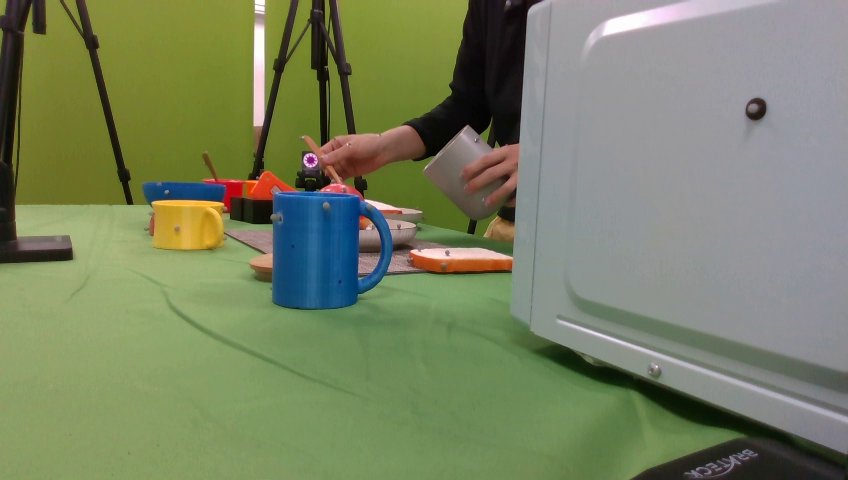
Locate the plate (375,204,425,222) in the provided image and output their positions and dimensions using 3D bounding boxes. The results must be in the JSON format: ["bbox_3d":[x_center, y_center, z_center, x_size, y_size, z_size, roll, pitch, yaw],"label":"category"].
[{"bbox_3d":[-0.102,-0.053,1.299,0.209,0.038,0.209,2,8,0],"label":"plate"}]

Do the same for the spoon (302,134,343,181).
[{"bbox_3d":[-0.153,-0.111,1.041,0.042,0.193,0.021,-28,-12,-33],"label":"spoon"}]

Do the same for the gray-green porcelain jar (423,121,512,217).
[{"bbox_3d":[0.079,-0.108,0.960,0.126,0.106,0.106,42,4,-7],"label":"gray-green porcelain jar"}]

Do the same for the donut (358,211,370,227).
[{"bbox_3d":[-0.132,-0.041,0.959,0.099,0.048,0.099,3,8,0],"label":"donut"}]

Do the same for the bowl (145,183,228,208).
[{"bbox_3d":[-0.459,-0.069,1.175,0.151,0.077,0.151,3,7,0],"label":"bowl"}]

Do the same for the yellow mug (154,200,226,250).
[{"bbox_3d":[-0.337,-0.022,0.899,0.130,0.064,0.100,8,9,34],"label":"yellow mug"}]

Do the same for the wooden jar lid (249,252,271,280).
[{"bbox_3d":[-0.148,0.028,0.708,0.108,0.020,0.108,-1,10,0],"label":"wooden jar lid"}]

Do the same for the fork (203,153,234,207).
[{"bbox_3d":[-0.480,-0.135,1.411,0.028,0.018,0.207,1,-34,0],"label":"fork"}]

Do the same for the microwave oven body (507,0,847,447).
[{"bbox_3d":[0.331,-0.042,0.425,0.444,0.260,0.324,-2,8,-31],"label":"microwave oven body"}]

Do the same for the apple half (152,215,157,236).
[{"bbox_3d":[-0.415,-0.034,1.017,0.081,0.053,0.074,1,10,-9],"label":"apple half"}]

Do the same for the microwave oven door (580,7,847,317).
[{"bbox_3d":[0.295,-0.067,0.570,0.358,0.243,0.039,-3,9,-31],"label":"microwave oven door"}]

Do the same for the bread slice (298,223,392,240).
[{"bbox_3d":[-0.121,-0.014,0.971,0.106,0.018,0.135,9,9,43],"label":"bread slice"}]

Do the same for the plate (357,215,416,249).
[{"bbox_3d":[-0.116,-0.014,0.967,0.208,0.039,0.207,2,7,0],"label":"plate"}]

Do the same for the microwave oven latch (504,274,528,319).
[{"bbox_3d":[0.100,0.041,0.470,0.079,0.029,0.030,-1,7,-27],"label":"microwave oven latch"}]

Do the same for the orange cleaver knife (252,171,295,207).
[{"bbox_3d":[-0.283,-0.087,1.343,0.212,0.077,0.012,24,-16,-41],"label":"orange cleaver knife"}]

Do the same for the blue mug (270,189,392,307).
[{"bbox_3d":[-0.090,0.005,0.588,0.117,0.106,0.082,1,7,-11],"label":"blue mug"}]

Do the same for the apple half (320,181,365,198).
[{"bbox_3d":[-0.130,-0.077,0.952,0.081,0.033,0.081,4,14,-1],"label":"apple half"}]

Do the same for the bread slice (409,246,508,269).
[{"bbox_3d":[0.048,0.021,0.816,0.132,0.019,0.104,0,7,-24],"label":"bread slice"}]
